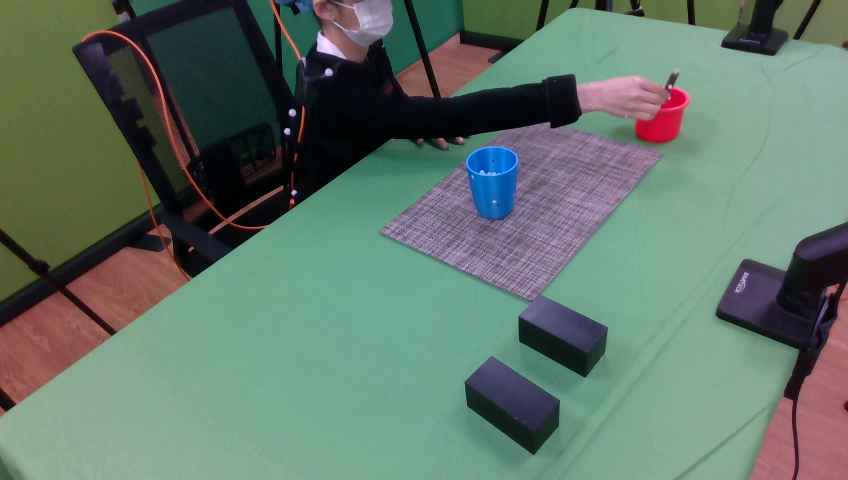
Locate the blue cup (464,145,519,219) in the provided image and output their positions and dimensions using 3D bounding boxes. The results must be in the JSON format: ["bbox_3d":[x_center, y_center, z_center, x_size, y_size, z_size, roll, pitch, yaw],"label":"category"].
[{"bbox_3d":[0.116,-0.091,0.997,0.092,0.101,0.092,-5,42,5],"label":"blue cup"}]

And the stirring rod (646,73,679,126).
[{"bbox_3d":[0.428,-0.249,1.089,0.014,0.177,0.006,-14,71,2],"label":"stirring rod"}]
